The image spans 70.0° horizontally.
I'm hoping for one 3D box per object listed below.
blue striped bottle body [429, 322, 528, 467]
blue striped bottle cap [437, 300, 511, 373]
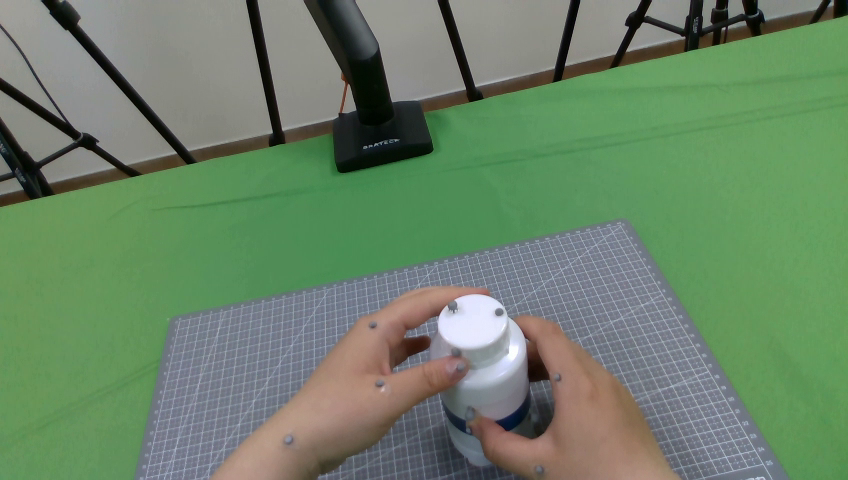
[{"bbox_3d":[0.038,0.095,0.406,0.063,0.122,0.062,-5,42,5],"label":"blue striped bottle body"},{"bbox_3d":[0.031,0.058,0.371,0.044,0.021,0.044,-7,38,6],"label":"blue striped bottle cap"}]
